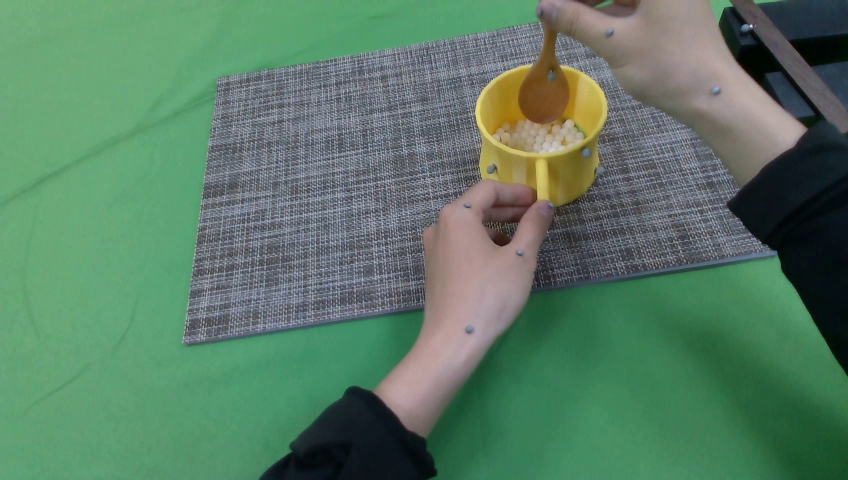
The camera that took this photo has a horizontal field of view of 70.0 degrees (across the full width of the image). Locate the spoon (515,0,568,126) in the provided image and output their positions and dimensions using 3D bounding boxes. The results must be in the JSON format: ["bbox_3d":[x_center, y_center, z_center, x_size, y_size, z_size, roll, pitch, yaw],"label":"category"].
[{"bbox_3d":[0.085,-0.141,0.418,0.041,0.195,0.021,3,68,9],"label":"spoon"}]

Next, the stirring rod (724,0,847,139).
[{"bbox_3d":[0.282,-0.145,0.477,0.014,0.006,0.174,-35,51,28],"label":"stirring rod"}]

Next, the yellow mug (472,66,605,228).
[{"bbox_3d":[0.090,-0.069,0.479,0.100,0.064,0.129,-2,57,8],"label":"yellow mug"}]
